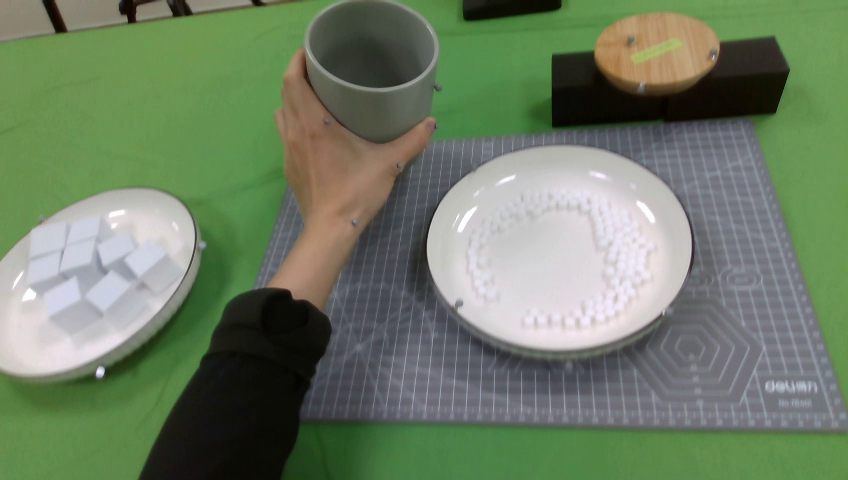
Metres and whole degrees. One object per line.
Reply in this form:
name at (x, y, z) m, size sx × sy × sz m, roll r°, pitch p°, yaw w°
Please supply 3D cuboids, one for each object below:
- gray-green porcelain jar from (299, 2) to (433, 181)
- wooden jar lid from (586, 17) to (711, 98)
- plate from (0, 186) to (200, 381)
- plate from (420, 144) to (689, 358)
gray-green porcelain jar at (-0.050, -0.121, 0.528) m, size 0.106 × 0.127 × 0.105 m, roll 3°, pitch 59°, yaw -5°
wooden jar lid at (0.206, -0.168, 0.560) m, size 0.108 × 0.021 × 0.107 m, roll -6°, pitch 52°, yaw 7°
plate at (-0.303, 0.038, 0.558) m, size 0.207 × 0.039 × 0.205 m, roll -6°, pitch 51°, yaw 8°
plate at (0.101, 0.006, 0.492) m, size 0.209 × 0.038 × 0.207 m, roll -6°, pitch 51°, yaw 8°
